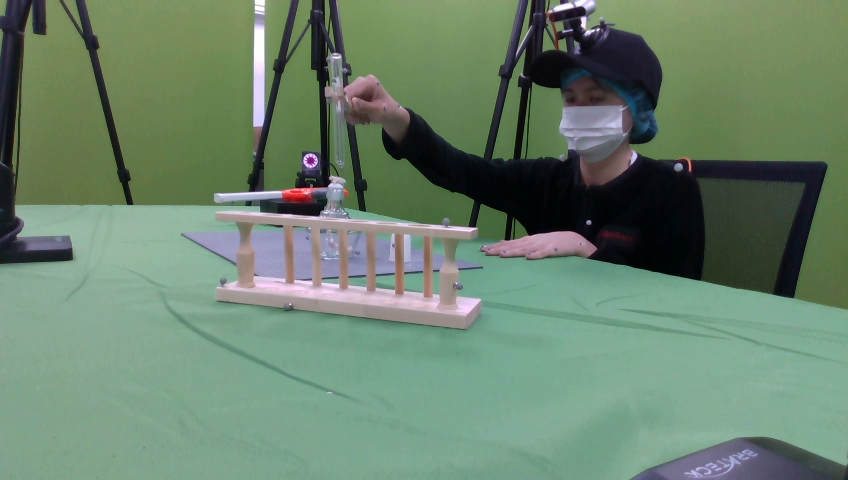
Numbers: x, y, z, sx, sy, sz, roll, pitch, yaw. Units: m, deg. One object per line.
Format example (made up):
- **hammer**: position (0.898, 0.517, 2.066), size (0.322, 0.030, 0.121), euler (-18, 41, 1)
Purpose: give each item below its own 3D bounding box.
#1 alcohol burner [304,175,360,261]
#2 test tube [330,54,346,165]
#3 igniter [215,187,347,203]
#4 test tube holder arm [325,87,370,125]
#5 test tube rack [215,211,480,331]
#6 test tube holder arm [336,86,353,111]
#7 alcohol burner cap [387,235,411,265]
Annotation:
- **alcohol burner**: position (-0.126, -0.031, 0.838), size (0.078, 0.119, 0.078), euler (3, 5, 0)
- **test tube**: position (-0.116, -0.177, 0.818), size (0.017, 0.150, 0.017), euler (-2, -2, 0)
- **igniter**: position (-0.293, -0.095, 1.267), size (0.278, 0.025, 0.057), euler (-6, 12, -33)
- **test tube holder arm**: position (-0.110, -0.194, 0.887), size (0.013, 0.015, 0.179), euler (-2, -2, 10)
- **test tube rack**: position (-0.071, 0.022, 0.565), size (0.242, 0.085, 0.067), euler (5, 7, 16)
- **test tube holder arm**: position (-0.110, -0.196, 0.842), size (0.010, 0.015, 0.088), euler (-3, -2, 2)
- **alcohol burner cap**: position (-0.035, 0.009, 0.839), size (0.034, 0.048, 0.034), euler (2, 6, 0)
